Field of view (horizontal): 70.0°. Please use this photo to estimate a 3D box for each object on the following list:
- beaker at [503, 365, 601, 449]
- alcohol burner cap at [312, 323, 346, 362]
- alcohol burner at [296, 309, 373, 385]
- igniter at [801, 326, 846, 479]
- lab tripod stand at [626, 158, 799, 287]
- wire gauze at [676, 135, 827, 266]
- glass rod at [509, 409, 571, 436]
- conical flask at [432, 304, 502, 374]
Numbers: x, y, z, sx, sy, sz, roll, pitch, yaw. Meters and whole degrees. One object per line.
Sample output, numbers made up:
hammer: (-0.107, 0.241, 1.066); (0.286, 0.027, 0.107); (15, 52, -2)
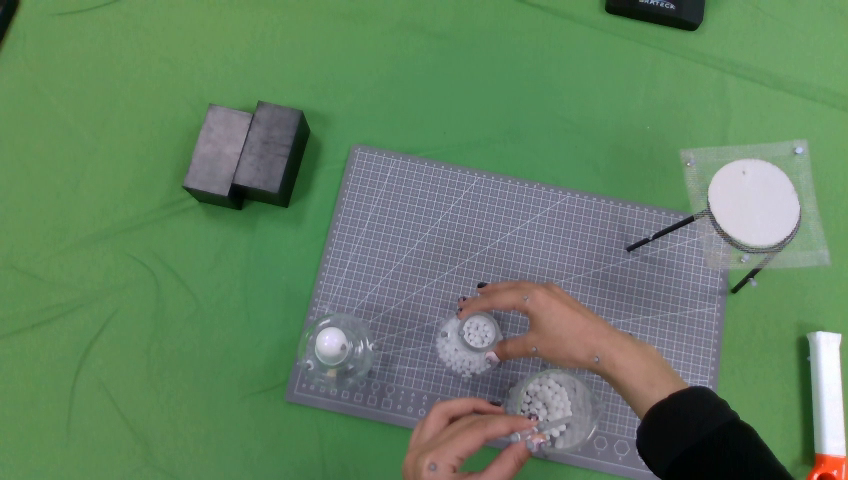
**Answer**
beaker: (0.121, 0.162, 0.599); (0.084, 0.100, 0.073); (-6, 76, -3)
alcohol burner cap: (-0.089, 0.093, 0.566); (0.034, 0.048, 0.033); (3, 70, -8)
alcohol burner: (-0.090, 0.104, 0.600); (0.078, 0.119, 0.077); (1, 75, -3)
igniter: (0.418, 0.229, 0.630); (0.057, 0.025, 0.275); (8, 76, -10)
lab tripod stand: (0.303, -0.017, 0.631); (0.148, 0.132, 0.147); (0, 78, -2)
wire gauze: (0.307, -0.037, 0.566); (0.125, 0.011, 0.121); (-4, 78, -2)
glass rod: (0.099, 0.147, 0.491); (0.008, 0.201, 0.008); (-5, 77, 23)
conical flask: (0.047, 0.093, 0.602); (0.075, 0.122, 0.075); (0, 76, -1)
